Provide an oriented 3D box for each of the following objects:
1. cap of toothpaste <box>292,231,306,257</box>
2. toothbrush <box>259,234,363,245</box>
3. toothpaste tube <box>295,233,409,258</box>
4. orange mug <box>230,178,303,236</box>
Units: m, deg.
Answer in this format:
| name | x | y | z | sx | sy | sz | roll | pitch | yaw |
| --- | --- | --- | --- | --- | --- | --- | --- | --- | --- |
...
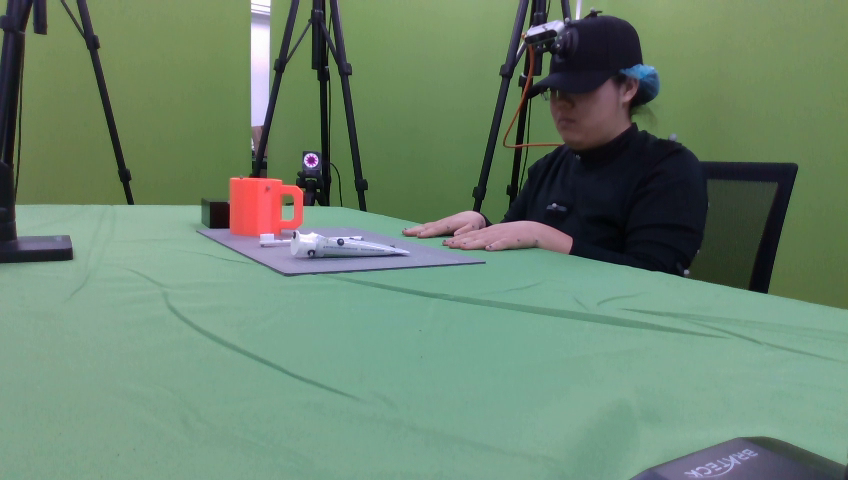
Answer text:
| name | x | y | z | sx | sy | sz | roll | pitch | yaw |
| --- | --- | --- | --- | --- | --- | --- | --- | --- | --- |
| cap of toothpaste | -0.168 | 0.005 | 0.812 | 0.011 | 0.037 | 0.037 | 6 | 4 | -29 |
| toothbrush | -0.175 | -0.002 | 0.958 | 0.183 | 0.016 | 0.014 | -1 | -5 | -39 |
| toothpaste tube | -0.102 | 0.010 | 0.853 | 0.166 | 0.034 | 0.055 | 2 | 11 | -34 |
| orange mug | -0.275 | -0.060 | 1.058 | 0.126 | 0.101 | 0.083 | -2 | 8 | -5 |
